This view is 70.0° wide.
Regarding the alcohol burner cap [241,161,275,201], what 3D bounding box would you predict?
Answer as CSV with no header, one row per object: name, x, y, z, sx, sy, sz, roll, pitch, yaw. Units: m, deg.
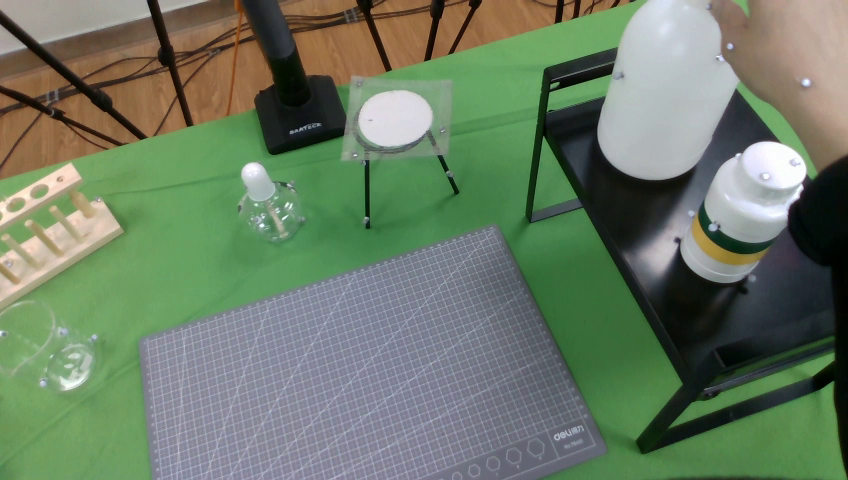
alcohol burner cap,-0.198,-0.072,0.711,0.034,0.048,0.033,-2,57,3

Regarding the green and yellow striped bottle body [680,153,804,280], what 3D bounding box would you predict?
green and yellow striped bottle body,0.250,-0.023,0.476,0.063,0.121,0.062,-2,58,3

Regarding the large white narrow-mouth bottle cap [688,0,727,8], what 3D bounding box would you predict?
large white narrow-mouth bottle cap,0.206,-0.188,0.436,0.038,0.024,0.037,-1,60,2

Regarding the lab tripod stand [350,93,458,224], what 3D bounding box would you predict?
lab tripod stand,-0.032,-0.105,0.750,0.148,0.132,0.147,-1,57,2

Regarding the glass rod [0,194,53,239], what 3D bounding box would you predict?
glass rod,-0.501,-0.056,0.703,0.008,0.202,0.008,-6,54,9

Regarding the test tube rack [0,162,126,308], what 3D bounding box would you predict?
test tube rack,-0.508,0.014,0.739,0.242,0.086,0.066,-37,63,-17

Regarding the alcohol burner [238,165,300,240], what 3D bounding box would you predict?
alcohol burner,-0.194,-0.052,0.742,0.078,0.120,0.077,-1,57,2

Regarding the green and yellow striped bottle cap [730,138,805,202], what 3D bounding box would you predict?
green and yellow striped bottle cap,0.245,-0.051,0.433,0.045,0.020,0.045,-1,59,2

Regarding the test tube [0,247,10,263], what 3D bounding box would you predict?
test tube,-0.535,-0.016,0.700,0.017,0.152,0.017,-4,56,7

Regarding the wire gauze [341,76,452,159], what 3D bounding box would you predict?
wire gauze,-0.030,-0.144,0.695,0.121,0.011,0.124,1,59,3

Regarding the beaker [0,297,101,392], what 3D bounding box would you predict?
beaker,-0.409,0.120,0.659,0.074,0.101,0.083,-5,58,2

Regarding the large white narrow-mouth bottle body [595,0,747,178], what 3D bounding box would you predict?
large white narrow-mouth bottle body,0.210,-0.145,0.511,0.102,0.196,0.101,-1,60,2
